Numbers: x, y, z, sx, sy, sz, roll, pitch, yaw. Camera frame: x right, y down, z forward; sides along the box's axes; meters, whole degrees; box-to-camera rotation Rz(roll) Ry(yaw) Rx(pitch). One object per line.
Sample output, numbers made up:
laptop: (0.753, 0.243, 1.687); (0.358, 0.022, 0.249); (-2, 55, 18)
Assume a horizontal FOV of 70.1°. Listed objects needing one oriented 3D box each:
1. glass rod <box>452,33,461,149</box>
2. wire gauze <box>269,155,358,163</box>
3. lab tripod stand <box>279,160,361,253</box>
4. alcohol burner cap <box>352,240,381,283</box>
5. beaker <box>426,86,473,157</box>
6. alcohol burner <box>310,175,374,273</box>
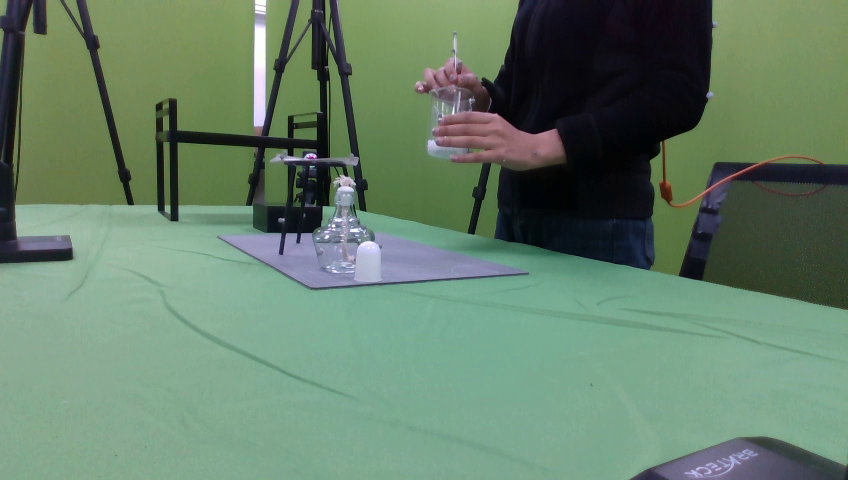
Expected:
glass rod: (0.052, -0.243, 0.984); (0.008, 0.199, 0.008); (-2, -10, 0)
wire gauze: (-0.159, -0.118, 0.886); (0.122, 0.011, 0.125); (1, 7, -9)
lab tripod stand: (-0.166, -0.052, 0.897); (0.148, 0.131, 0.148); (0, 7, 0)
alcohol burner cap: (-0.065, 0.023, 0.690); (0.034, 0.048, 0.034); (2, 8, 0)
beaker: (0.038, -0.186, 0.961); (0.073, 0.100, 0.084); (0, -3, 35)
alcohol burner: (-0.100, -0.020, 0.740); (0.078, 0.119, 0.078); (1, 6, 0)
